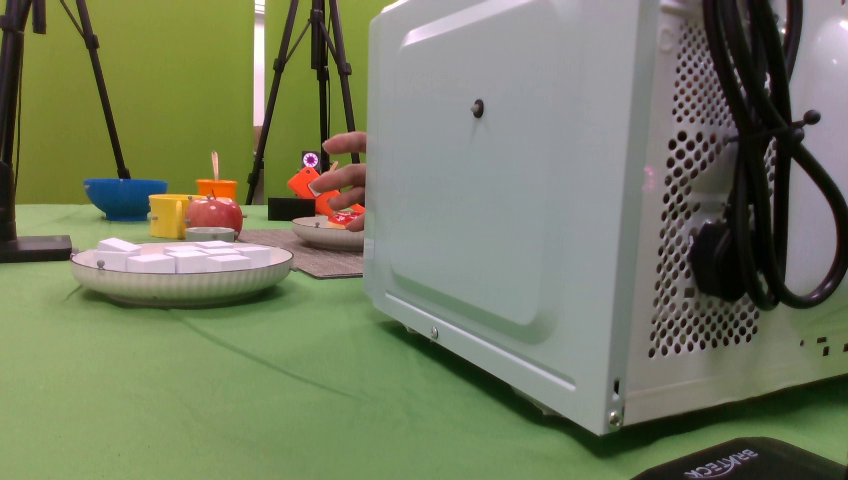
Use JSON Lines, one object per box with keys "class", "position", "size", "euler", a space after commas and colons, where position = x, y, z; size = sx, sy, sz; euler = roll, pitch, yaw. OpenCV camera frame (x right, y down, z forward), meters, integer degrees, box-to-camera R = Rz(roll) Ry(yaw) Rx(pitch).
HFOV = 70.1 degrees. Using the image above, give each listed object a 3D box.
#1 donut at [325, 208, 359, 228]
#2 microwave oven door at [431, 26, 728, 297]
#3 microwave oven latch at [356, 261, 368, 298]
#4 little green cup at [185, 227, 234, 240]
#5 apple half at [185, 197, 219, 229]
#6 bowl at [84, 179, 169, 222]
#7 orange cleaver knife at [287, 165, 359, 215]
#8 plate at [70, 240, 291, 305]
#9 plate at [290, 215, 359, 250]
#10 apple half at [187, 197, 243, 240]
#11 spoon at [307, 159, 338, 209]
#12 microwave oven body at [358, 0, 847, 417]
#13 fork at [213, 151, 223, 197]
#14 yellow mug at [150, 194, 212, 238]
{"class": "donut", "position": [-0.110, -0.025, 0.974], "size": [0.099, 0.048, 0.099], "euler": [4, 8, 0]}
{"class": "microwave oven door", "position": [0.178, -0.074, 0.627], "size": [0.358, 0.243, 0.039], "euler": [-2, 8, -26]}
{"class": "microwave oven latch", "position": [-0.020, 0.033, 0.530], "size": [0.079, 0.029, 0.030], "euler": [0, 7, -26]}
{"class": "little green cup", "position": [-0.285, 0.005, 0.805], "size": [0.061, 0.038, 0.061], "euler": [2, 8, 0]}
{"class": "apple half", "position": [-0.338, -0.031, 0.927], "size": [0.032, 0.081, 0.081], "euler": [12, 12, 31]}
{"class": "bowl", "position": [-0.584, -0.078, 1.193], "size": [0.151, 0.077, 0.151], "euler": [3, 8, 0]}
{"class": "orange cleaver knife", "position": [-0.211, -0.092, 1.382], "size": [0.212, 0.077, 0.012], "euler": [34, 1, -15]}
{"class": "plate", "position": [-0.242, 0.031, 0.618], "size": [0.208, 0.039, 0.207], "euler": [2, 8, 0]}
{"class": "plate", "position": [-0.110, -0.013, 0.973], "size": [0.209, 0.038, 0.209], "euler": [3, 8, 0]}
{"class": "apple half", "position": [-0.305, -0.026, 0.907], "size": [0.053, 0.074, 0.081], "euler": [12, 8, 31]}
{"class": "spoon", "position": [-0.257, -0.147, 1.566], "size": [0.041, 0.022, 0.193], "euler": [1, 50, 20]}
{"class": "microwave oven body", "position": [0.211, -0.047, 0.474], "size": [0.444, 0.260, 0.324], "euler": [-1, 8, -28]}
{"class": "fork", "position": [-0.493, -0.143, 1.442], "size": [0.028, 0.018, 0.206], "euler": [-4, 52, -18]}
{"class": "yellow mug", "position": [-0.401, -0.040, 1.003], "size": [0.100, 0.064, 0.130], "euler": [-1, 9, -20]}
